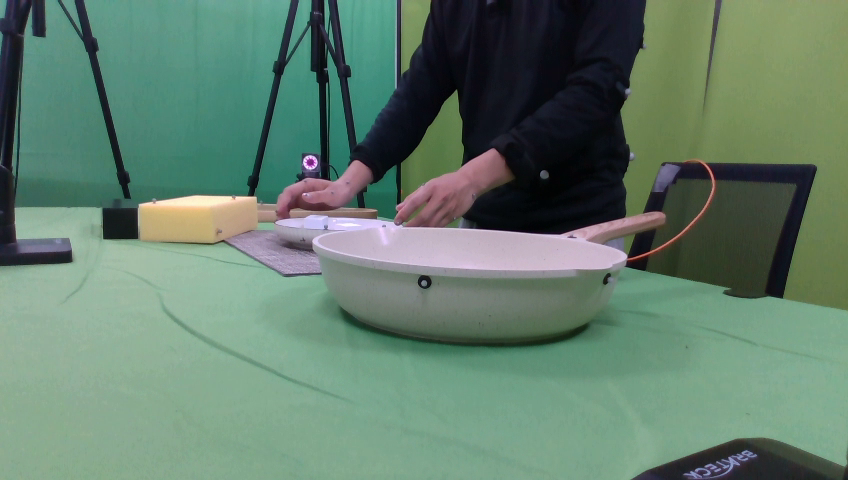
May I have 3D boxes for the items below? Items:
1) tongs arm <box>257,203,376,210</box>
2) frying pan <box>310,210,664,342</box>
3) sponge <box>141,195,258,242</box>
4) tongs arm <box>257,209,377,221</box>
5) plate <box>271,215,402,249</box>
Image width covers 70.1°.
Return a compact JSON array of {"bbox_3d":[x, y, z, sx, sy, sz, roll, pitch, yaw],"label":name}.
[{"bbox_3d":[-0.306,-0.070,1.430,0.386,0.026,0.050,1,8,-15],"label":"tongs arm"},{"bbox_3d":[0.120,0.011,0.643,0.490,0.102,0.305,-14,16,-37],"label":"frying pan"},{"bbox_3d":[-0.380,-0.040,1.047,0.118,0.061,0.207,1,8,3],"label":"sponge"},{"bbox_3d":[-0.280,-0.056,1.355,0.389,0.028,0.028,-1,6,-28],"label":"tongs arm"},{"bbox_3d":[-0.140,-0.012,0.977,0.208,0.039,0.207,3,7,0],"label":"plate"}]
